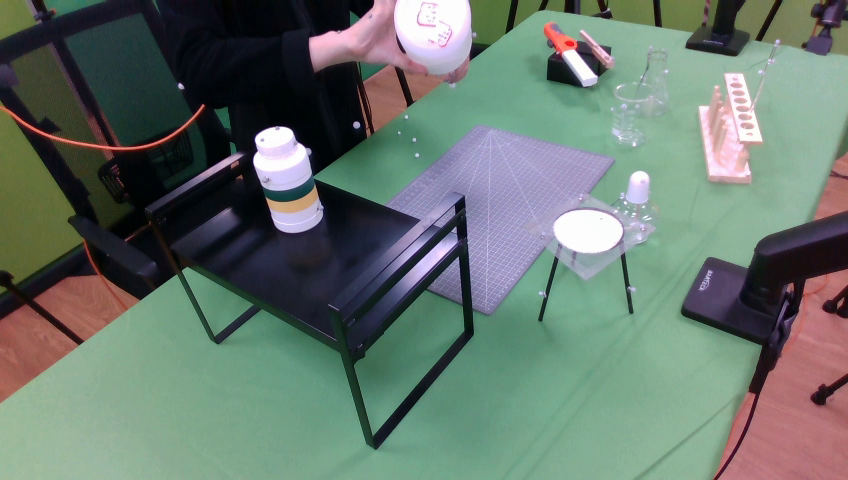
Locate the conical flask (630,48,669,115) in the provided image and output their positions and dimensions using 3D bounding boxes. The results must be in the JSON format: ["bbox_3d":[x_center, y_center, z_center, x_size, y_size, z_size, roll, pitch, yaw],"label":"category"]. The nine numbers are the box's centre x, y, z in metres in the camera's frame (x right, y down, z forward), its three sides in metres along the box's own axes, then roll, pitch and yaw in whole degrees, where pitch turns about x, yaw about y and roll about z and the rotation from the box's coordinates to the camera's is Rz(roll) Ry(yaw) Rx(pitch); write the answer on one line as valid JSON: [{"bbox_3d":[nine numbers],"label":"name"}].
[{"bbox_3d":[0.456,-0.317,1.205,0.075,0.122,0.075,-4,41,4],"label":"conical flask"}]

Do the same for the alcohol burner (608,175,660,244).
[{"bbox_3d":[0.322,-0.053,0.924,0.078,0.119,0.077,-4,43,4],"label":"alcohol burner"}]

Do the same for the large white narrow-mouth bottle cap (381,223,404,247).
[{"bbox_3d":[-0.052,-0.009,0.992,0.038,0.024,0.037,-5,39,4],"label":"large white narrow-mouth bottle cap"}]

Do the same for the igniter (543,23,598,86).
[{"bbox_3d":[0.320,-0.419,1.345,0.057,0.025,0.274,-12,44,-3],"label":"igniter"}]

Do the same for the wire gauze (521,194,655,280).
[{"bbox_3d":[0.207,-0.012,0.772,0.122,0.011,0.124,-28,44,-20],"label":"wire gauze"}]

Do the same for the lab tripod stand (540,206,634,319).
[{"bbox_3d":[0.217,0.034,0.821,0.148,0.132,0.147,-4,42,4],"label":"lab tripod stand"}]

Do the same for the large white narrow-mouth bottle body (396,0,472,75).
[{"bbox_3d":[0.019,-0.289,0.855,0.102,0.101,0.195,-3,3,4],"label":"large white narrow-mouth bottle body"}]

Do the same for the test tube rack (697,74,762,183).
[{"bbox_3d":[0.547,-0.208,1.095,0.066,0.085,0.242,5,42,15],"label":"test tube rack"}]

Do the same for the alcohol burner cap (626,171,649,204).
[{"bbox_3d":[0.320,-0.081,0.900,0.034,0.048,0.033,-4,42,4],"label":"alcohol burner cap"}]

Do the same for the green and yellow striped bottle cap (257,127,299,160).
[{"bbox_3d":[-0.169,-0.112,0.698,0.045,0.020,0.045,-5,40,5],"label":"green and yellow striped bottle cap"}]

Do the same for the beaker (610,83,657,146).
[{"bbox_3d":[0.388,-0.235,1.138,0.074,0.101,0.083,-31,45,-26],"label":"beaker"}]

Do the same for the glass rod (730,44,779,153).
[{"bbox_3d":[0.555,-0.234,1.020,0.008,0.200,0.008,2,40,-1],"label":"glass rod"}]

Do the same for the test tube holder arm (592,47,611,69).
[{"bbox_3d":[0.386,-0.398,1.317,0.010,0.015,0.087,-10,41,-2],"label":"test tube holder arm"}]

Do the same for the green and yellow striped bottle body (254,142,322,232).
[{"bbox_3d":[-0.165,-0.073,0.732,0.063,0.120,0.063,-4,41,4],"label":"green and yellow striped bottle body"}]

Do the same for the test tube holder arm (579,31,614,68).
[{"bbox_3d":[0.384,-0.428,1.351,0.013,0.015,0.177,-11,41,-3],"label":"test tube holder arm"}]

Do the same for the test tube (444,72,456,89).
[{"bbox_3d":[0.041,-0.284,1.024,0.017,0.017,0.150,0,-2,8],"label":"test tube"}]
